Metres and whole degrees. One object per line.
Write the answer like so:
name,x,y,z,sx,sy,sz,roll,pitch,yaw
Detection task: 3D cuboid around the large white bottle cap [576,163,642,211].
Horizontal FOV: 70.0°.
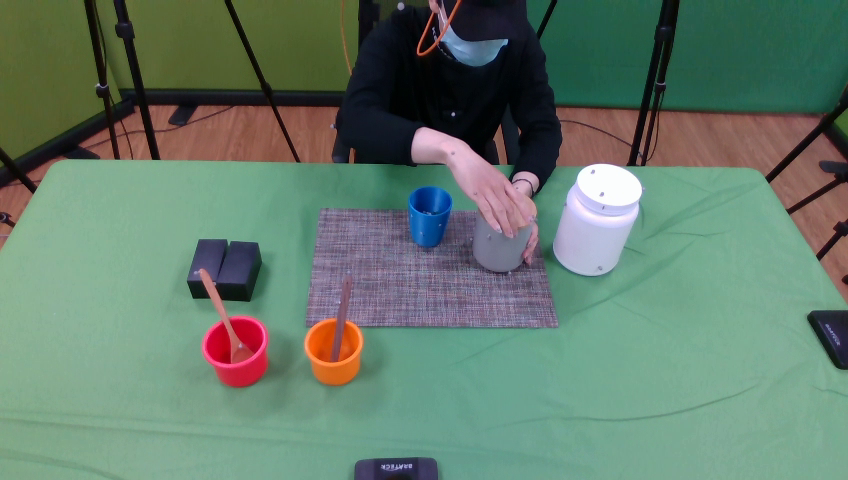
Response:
large white bottle cap,0.330,-0.096,1.081,0.115,0.018,0.114,2,46,-2

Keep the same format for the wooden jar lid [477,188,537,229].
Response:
wooden jar lid,0.149,-0.054,1.094,0.108,0.021,0.107,4,46,-4

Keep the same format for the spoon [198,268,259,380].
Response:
spoon,-0.313,0.132,0.962,0.041,0.021,0.194,-24,96,-19

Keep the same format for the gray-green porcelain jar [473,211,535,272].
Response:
gray-green porcelain jar,0.148,-0.010,1.140,0.106,0.127,0.105,2,46,-2

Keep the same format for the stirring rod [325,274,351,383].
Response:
stirring rod,-0.137,0.142,0.972,0.014,0.006,0.176,10,89,0

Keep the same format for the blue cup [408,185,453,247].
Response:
blue cup,0.008,-0.041,1.176,0.093,0.101,0.092,3,47,-3

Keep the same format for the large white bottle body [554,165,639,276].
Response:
large white bottle body,0.326,-0.037,1.141,0.131,0.185,0.130,2,46,-2
